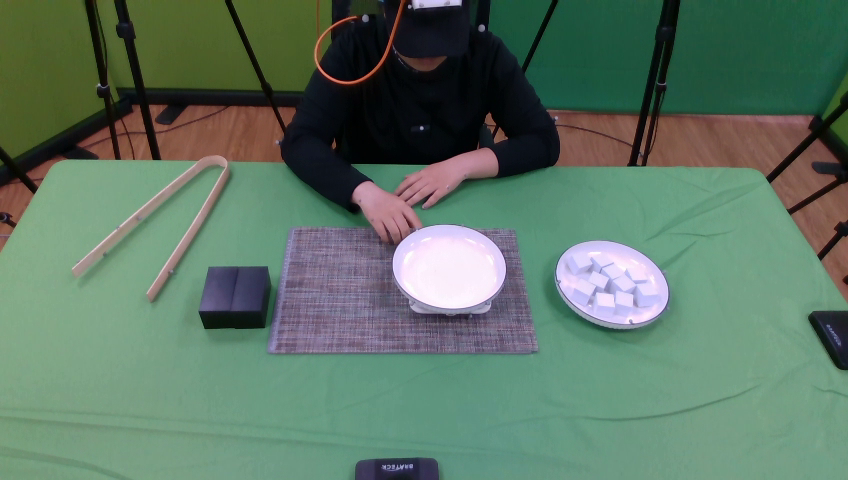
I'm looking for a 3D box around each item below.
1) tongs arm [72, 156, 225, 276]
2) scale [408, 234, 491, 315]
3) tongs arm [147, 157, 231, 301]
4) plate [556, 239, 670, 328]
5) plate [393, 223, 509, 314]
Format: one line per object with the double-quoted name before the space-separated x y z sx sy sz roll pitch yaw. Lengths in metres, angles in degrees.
"tongs arm" -0.531 -0.057 1.205 0.050 0.026 0.383 19 47 13
"scale" 0.045 0.055 1.135 0.149 0.032 0.199 1 46 -3
"tongs arm" -0.453 -0.035 1.193 0.028 0.028 0.385 6 46 6
"plate" 0.347 0.083 1.130 0.209 0.038 0.208 2 47 -2
"plate" 0.048 0.053 1.092 0.208 0.039 0.206 1 46 -1
